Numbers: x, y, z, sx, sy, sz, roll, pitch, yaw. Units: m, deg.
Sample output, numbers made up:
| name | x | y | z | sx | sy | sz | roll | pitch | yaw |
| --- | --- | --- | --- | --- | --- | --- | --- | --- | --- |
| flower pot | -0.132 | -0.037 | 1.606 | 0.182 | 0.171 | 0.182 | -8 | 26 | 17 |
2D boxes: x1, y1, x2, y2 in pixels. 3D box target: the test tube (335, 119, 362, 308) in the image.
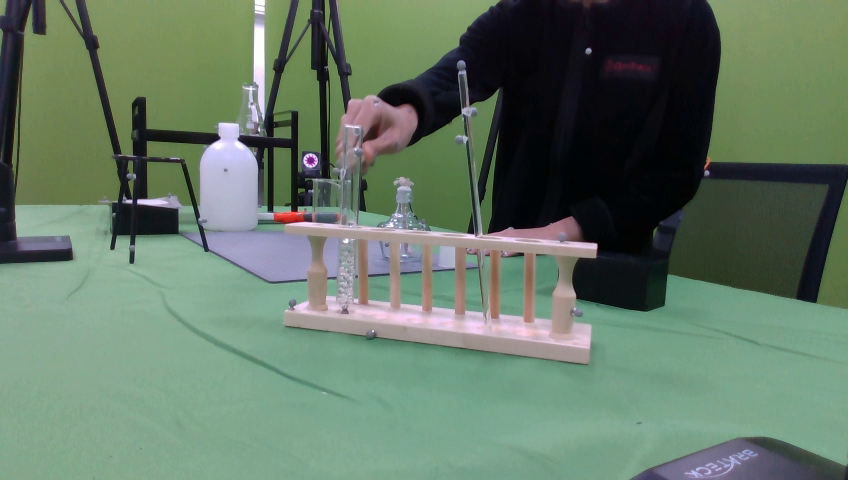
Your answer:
| name | x | y | z | sx | sy | sz | roll | pitch | yaw |
| --- | --- | --- | --- | --- | --- | --- | --- | --- | --- |
| test tube | -0.060 | -0.019 | 0.475 | 0.017 | 0.150 | 0.017 | 4 | 11 | 0 |

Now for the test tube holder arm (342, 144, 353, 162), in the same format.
| name | x | y | z | sx | sy | sz | roll | pitch | yaw |
| --- | --- | --- | --- | --- | --- | --- | --- | --- | --- |
| test tube holder arm | -0.070 | -0.087 | 0.595 | 0.013 | 0.015 | 0.178 | -6 | 9 | -4 |

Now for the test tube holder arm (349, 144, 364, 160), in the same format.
| name | x | y | z | sx | sy | sz | roll | pitch | yaw |
| --- | --- | --- | --- | --- | --- | --- | --- | --- | --- |
| test tube holder arm | -0.061 | -0.081 | 0.551 | 0.010 | 0.015 | 0.087 | -6 | 9 | -3 |

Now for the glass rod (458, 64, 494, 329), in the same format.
| name | x | y | z | sx | sy | sz | roll | pitch | yaw |
| --- | --- | --- | --- | --- | --- | --- | --- | --- | --- |
| glass rod | 0.039 | -0.029 | 0.449 | 0.008 | 0.199 | 0.008 | -7 | 9 | 1 |

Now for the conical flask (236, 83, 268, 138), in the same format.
| name | x | y | z | sx | sy | sz | roll | pitch | yaw |
| --- | --- | --- | --- | --- | --- | --- | --- | --- | --- |
| conical flask | -0.400 | -0.298 | 1.396 | 0.075 | 0.122 | 0.075 | 2 | 8 | 0 |

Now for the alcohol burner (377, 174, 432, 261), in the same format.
| name | x | y | z | sx | sy | sz | roll | pitch | yaw |
| --- | --- | --- | --- | --- | --- | --- | --- | --- | --- |
| alcohol burner | -0.027 | -0.031 | 0.838 | 0.078 | 0.119 | 0.078 | 0 | 6 | 0 |

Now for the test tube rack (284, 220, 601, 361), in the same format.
| name | x | y | z | sx | sy | sz | roll | pitch | yaw |
| --- | --- | --- | --- | --- | --- | --- | --- | --- | --- |
| test tube rack | 0.013 | 0.032 | 0.482 | 0.242 | 0.085 | 0.067 | 4 | 7 | 16 |

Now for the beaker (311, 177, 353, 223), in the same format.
| name | x | y | z | sx | sy | sz | roll | pitch | yaw |
| --- | --- | --- | --- | --- | --- | --- | --- | --- | --- |
| beaker | -0.167 | -0.064 | 1.106 | 0.074 | 0.100 | 0.083 | -2 | 9 | -27 |

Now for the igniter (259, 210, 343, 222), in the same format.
| name | x | y | z | sx | sy | sz | roll | pitch | yaw |
| --- | --- | --- | --- | --- | --- | --- | --- | --- | --- |
| igniter | -0.303 | -0.049 | 1.258 | 0.278 | 0.025 | 0.057 | -2 | -2 | -28 |

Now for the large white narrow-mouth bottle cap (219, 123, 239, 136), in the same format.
| name | x | y | z | sx | sy | sz | roll | pitch | yaw |
| --- | --- | --- | --- | --- | --- | --- | --- | --- | --- |
| large white narrow-mouth bottle cap | -0.356 | -0.201 | 1.104 | 0.038 | 0.024 | 0.037 | 2 | 8 | 0 |

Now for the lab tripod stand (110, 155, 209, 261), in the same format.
| name | x | y | z | sx | sy | sz | roll | pitch | yaw |
| --- | --- | --- | --- | --- | --- | --- | --- | --- | --- |
| lab tripod stand | -0.361 | -0.046 | 0.806 | 0.148 | 0.131 | 0.148 | 2 | 5 | 0 |

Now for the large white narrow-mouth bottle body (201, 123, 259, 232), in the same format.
| name | x | y | z | sx | sy | sz | roll | pitch | yaw |
| --- | --- | --- | --- | --- | --- | --- | --- | --- | --- |
| large white narrow-mouth bottle body | -0.358 | -0.116 | 1.116 | 0.102 | 0.194 | 0.102 | 2 | 8 | 0 |

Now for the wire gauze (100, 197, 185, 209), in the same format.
| name | x | y | z | sx | sy | sz | roll | pitch | yaw |
| --- | --- | --- | --- | --- | --- | --- | --- | --- | --- |
| wire gauze | -0.469 | -0.062 | 1.008 | 0.126 | 0.011 | 0.121 | -2 | 8 | -25 |

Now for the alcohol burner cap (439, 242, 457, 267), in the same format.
| name | x | y | z | sx | sy | sz | roll | pitch | yaw |
| --- | --- | --- | --- | --- | --- | --- | --- | --- | --- |
| alcohol burner cap | 0.038 | 0.011 | 0.807 | 0.034 | 0.048 | 0.034 | 3 | 8 | 0 |
